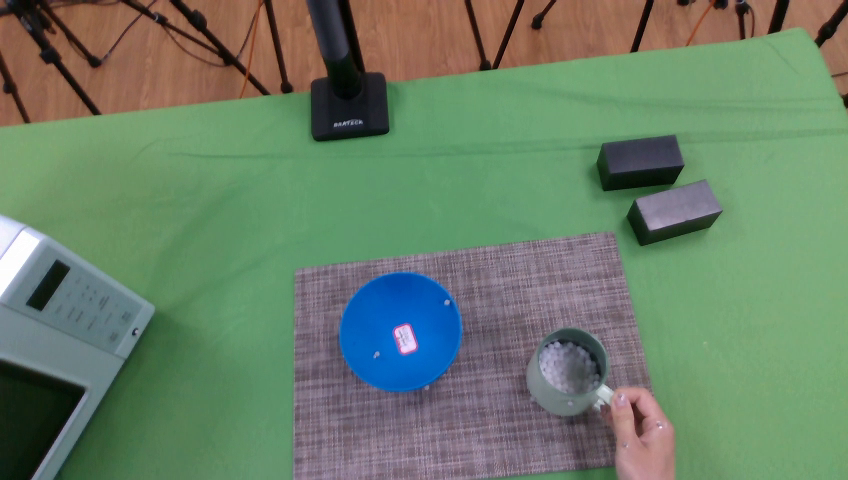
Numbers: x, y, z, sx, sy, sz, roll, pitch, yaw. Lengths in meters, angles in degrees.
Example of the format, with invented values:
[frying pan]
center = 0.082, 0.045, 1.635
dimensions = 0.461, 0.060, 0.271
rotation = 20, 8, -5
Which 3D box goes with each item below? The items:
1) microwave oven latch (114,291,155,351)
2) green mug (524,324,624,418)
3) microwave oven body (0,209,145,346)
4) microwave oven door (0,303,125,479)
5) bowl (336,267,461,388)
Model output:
[microwave oven latch]
center = -0.391, 0.105, 0.803
dimensions = 0.030, 0.030, 0.079
rotation = 22, 71, 13
[green mug]
center = 0.179, 0.160, 0.709
dimensions = 0.124, 0.106, 0.092
rotation = 37, 74, 19
[microwave oven body]
center = -0.605, 0.168, 0.687
dimensions = 0.325, 0.262, 0.439
rotation = 20, 70, 12
[microwave oven door]
center = -0.488, 0.250, 0.637
dimensions = 0.039, 0.246, 0.354
rotation = 20, 69, 14
[bowl]
center = -0.029, 0.118, 0.761
dimensions = 0.151, 0.077, 0.150
rotation = -2, 66, 4
